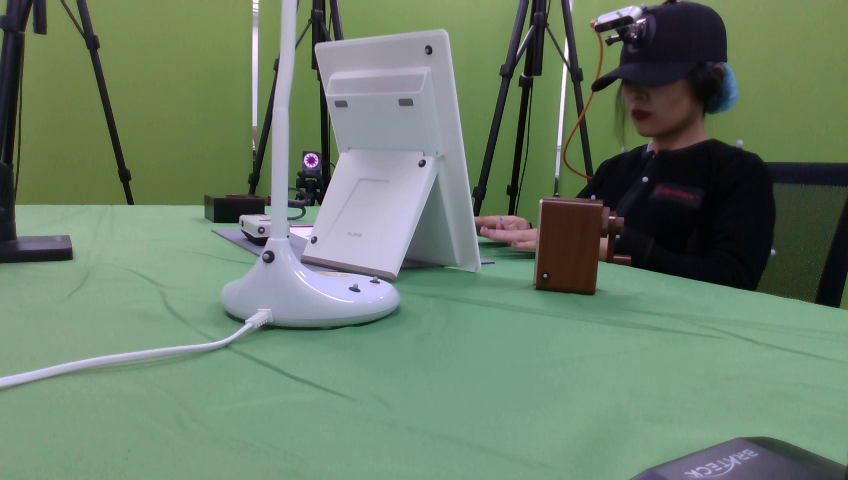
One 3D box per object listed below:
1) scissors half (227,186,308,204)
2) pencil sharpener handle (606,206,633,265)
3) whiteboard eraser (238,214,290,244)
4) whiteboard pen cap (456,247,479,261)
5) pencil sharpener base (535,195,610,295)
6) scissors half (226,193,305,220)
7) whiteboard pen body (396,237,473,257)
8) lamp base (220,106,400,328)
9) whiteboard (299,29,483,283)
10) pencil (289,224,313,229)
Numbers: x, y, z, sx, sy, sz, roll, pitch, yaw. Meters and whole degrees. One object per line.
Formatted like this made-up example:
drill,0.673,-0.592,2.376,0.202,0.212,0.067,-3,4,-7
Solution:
scissors half,-0.336,-0.096,1.305,0.176,0.040,0.013,-3,16,-29
pencil sharpener handle,0.222,-0.004,0.683,0.030,0.068,0.036,5,21,16
whiteboard eraser,-0.253,-0.017,0.955,0.056,0.042,0.112,-1,8,-29
whiteboard pen cap,0.060,0.020,0.851,0.033,0.018,0.018,10,10,37
pencil sharpener base,0.172,0.005,0.695,0.076,0.107,0.061,5,7,16
scissors half,-0.341,-0.077,1.310,0.176,0.040,0.012,17,11,-33
whiteboard pen body,0.014,0.012,0.886,0.140,0.017,0.017,10,10,38
lamp base,-0.101,-0.023,0.531,0.160,0.180,0.179,4,10,10
whiteboard,-0.074,-0.082,0.742,0.216,0.305,0.144,9,30,38
pencil,-0.221,-0.028,1.211,0.195,0.012,0.012,-5,10,-34
